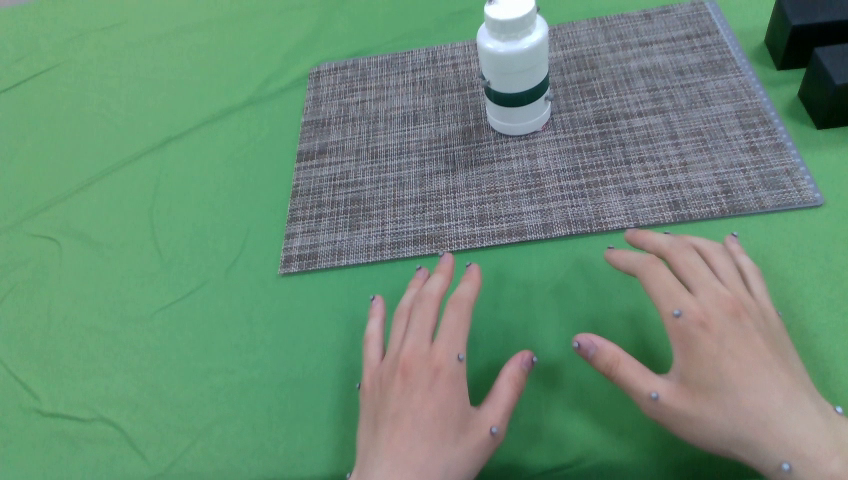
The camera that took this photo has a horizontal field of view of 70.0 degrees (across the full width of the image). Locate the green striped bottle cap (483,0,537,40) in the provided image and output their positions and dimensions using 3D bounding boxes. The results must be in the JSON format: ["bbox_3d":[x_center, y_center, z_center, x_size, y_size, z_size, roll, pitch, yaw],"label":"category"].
[{"bbox_3d":[0.073,-0.191,0.516,0.044,0.020,0.044,-8,53,11],"label":"green striped bottle cap"}]

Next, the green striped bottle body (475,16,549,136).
[{"bbox_3d":[0.082,-0.160,0.556,0.063,0.120,0.062,-6,51,8],"label":"green striped bottle body"}]
